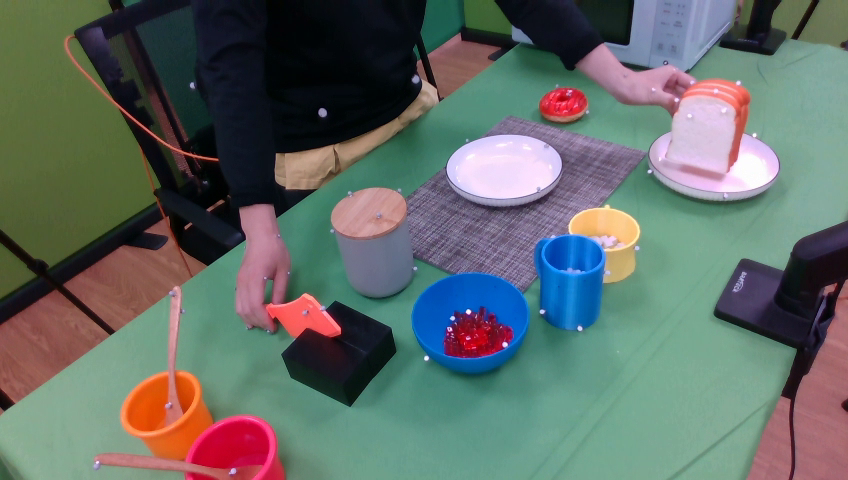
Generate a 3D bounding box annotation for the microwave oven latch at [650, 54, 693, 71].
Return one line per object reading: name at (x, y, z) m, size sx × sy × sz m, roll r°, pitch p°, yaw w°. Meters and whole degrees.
microwave oven latch at (0.531, -0.386, 1.301) m, size 0.078 × 0.029 × 0.030 m, roll 26°, pitch 51°, yaw 33°

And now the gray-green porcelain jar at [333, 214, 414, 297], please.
gray-green porcelain jar at (-0.071, 0.012, 0.887) m, size 0.106 × 0.127 × 0.105 m, roll -4°, pitch 41°, yaw 4°

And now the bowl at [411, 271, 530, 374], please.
bowl at (0.062, 0.120, 0.780) m, size 0.151 × 0.077 × 0.150 m, roll -4°, pitch 40°, yaw 4°

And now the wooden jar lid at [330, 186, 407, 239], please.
wooden jar lid at (-0.077, -0.035, 0.846) m, size 0.108 × 0.021 × 0.108 m, roll -5°, pitch 41°, yaw 5°

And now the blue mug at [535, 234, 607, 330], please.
blue mug at (0.191, 0.048, 0.824) m, size 0.082 × 0.106 × 0.115 m, roll -26°, pitch 44°, yaw -20°

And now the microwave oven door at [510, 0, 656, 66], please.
microwave oven door at (0.350, -0.539, 1.348) m, size 0.353 × 0.245 × 0.039 m, roll 24°, pitch 50°, yaw 31°

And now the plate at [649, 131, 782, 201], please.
plate at (0.493, -0.127, 1.036) m, size 0.207 × 0.039 × 0.206 m, roll -4°, pitch 40°, yaw 4°

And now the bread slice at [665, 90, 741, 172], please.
bread slice at (0.444, -0.175, 0.967) m, size 0.104 × 0.132 × 0.019 m, roll 21°, pitch 47°, yaw 31°

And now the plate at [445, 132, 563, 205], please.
plate at (0.142, -0.123, 1.076) m, size 0.209 × 0.038 × 0.208 m, roll -4°, pitch 41°, yaw 4°

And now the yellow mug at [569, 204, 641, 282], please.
yellow mug at (0.268, -0.005, 0.904) m, size 0.099 × 0.064 × 0.130 m, roll 7°, pitch 41°, yaw 15°

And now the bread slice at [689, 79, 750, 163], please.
bread slice at (0.476, -0.197, 0.999) m, size 0.106 × 0.134 × 0.018 m, roll 26°, pitch 43°, yaw 27°

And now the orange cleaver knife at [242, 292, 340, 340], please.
orange cleaver knife at (-0.185, 0.107, 0.827) m, size 0.210 × 0.077 × 0.012 m, roll -9°, pitch 28°, yaw 48°

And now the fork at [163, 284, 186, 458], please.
fork at (-0.302, 0.157, 0.733) m, size 0.028 × 0.019 × 0.207 m, roll -3°, pitch 84°, yaw 15°

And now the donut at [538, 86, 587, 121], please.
donut at (0.283, -0.280, 1.239) m, size 0.099 × 0.048 × 0.098 m, roll -5°, pitch 43°, yaw 5°

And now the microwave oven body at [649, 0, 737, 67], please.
microwave oven body at (0.475, -0.602, 1.411) m, size 0.438 × 0.261 × 0.327 m, roll 23°, pitch 50°, yaw 32°

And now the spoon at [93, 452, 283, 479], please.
spoon at (-0.240, 0.239, 0.632) m, size 0.195 × 0.021 × 0.041 m, roll 26°, pitch 33°, yaw -32°
